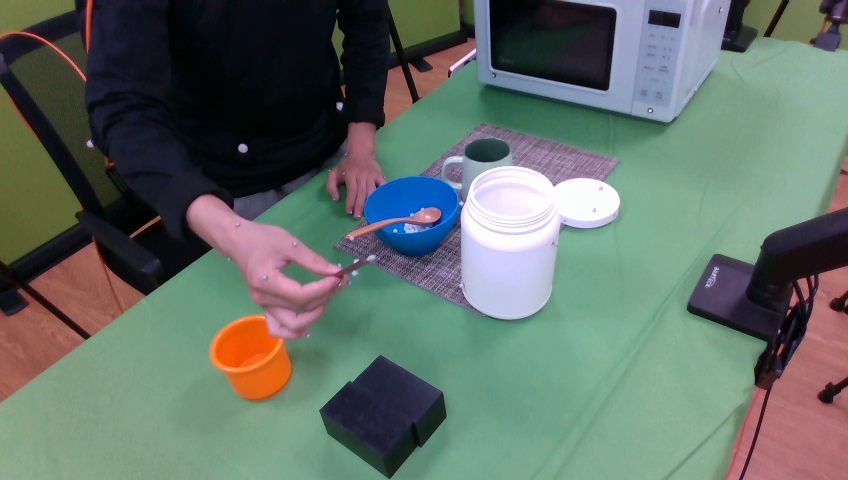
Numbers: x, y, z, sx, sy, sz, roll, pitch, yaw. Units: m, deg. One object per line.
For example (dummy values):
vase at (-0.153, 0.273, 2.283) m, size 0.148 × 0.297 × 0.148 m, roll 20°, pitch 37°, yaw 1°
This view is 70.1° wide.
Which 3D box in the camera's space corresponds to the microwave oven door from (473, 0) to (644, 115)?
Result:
microwave oven door at (0.257, -0.396, 1.199) m, size 0.353 × 0.245 × 0.039 m, roll 21°, pitch 48°, yaw 29°

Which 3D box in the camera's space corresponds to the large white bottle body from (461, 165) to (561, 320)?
large white bottle body at (0.115, 0.004, 0.816) m, size 0.130 × 0.185 × 0.130 m, roll -2°, pitch 43°, yaw 2°

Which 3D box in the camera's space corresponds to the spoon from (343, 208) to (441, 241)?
spoon at (-0.046, -0.025, 0.911) m, size 0.041 × 0.021 × 0.195 m, roll 25°, pitch 26°, yaw 38°

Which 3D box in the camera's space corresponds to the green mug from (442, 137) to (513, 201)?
green mug at (0.091, -0.108, 1.012) m, size 0.125 × 0.105 × 0.092 m, roll 2°, pitch 42°, yaw 12°

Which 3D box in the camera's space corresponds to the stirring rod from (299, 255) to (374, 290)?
stirring rod at (-0.096, 0.036, 0.636) m, size 0.014 × 0.006 × 0.175 m, roll -17°, pitch -4°, yaw -34°

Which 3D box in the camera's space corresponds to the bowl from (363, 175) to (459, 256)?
bowl at (-0.016, -0.029, 0.955) m, size 0.151 × 0.077 × 0.150 m, roll -4°, pitch 40°, yaw 4°

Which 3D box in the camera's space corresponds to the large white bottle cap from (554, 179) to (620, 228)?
large white bottle cap at (0.265, -0.062, 1.001) m, size 0.115 × 0.018 × 0.114 m, roll -3°, pitch 41°, yaw 3°

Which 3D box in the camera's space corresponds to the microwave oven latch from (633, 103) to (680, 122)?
microwave oven latch at (0.444, -0.249, 1.158) m, size 0.078 × 0.029 × 0.030 m, roll 21°, pitch 49°, yaw 30°

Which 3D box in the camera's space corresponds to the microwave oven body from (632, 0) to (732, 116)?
microwave oven body at (0.377, -0.463, 1.267) m, size 0.438 × 0.261 × 0.327 m, roll 21°, pitch 49°, yaw 30°
